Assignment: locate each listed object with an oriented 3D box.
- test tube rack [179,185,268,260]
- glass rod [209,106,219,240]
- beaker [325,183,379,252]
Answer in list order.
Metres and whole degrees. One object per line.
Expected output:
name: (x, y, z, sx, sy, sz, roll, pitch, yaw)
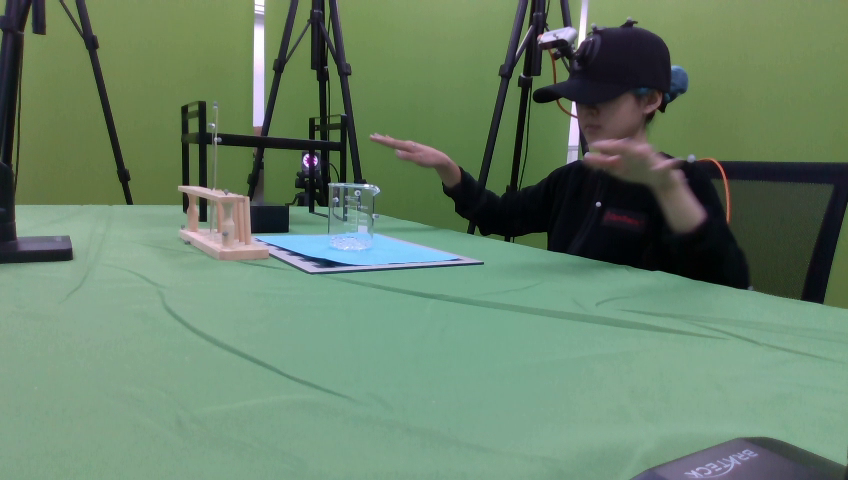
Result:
test tube rack: (-0.303, -0.031, 0.898, 0.067, 0.085, 0.241, -2, 9, -33)
glass rod: (-0.305, -0.096, 0.878, 0.008, 0.199, 0.008, 2, 0, 0)
beaker: (-0.109, -0.035, 0.921, 0.084, 0.100, 0.074, 5, 8, 15)
